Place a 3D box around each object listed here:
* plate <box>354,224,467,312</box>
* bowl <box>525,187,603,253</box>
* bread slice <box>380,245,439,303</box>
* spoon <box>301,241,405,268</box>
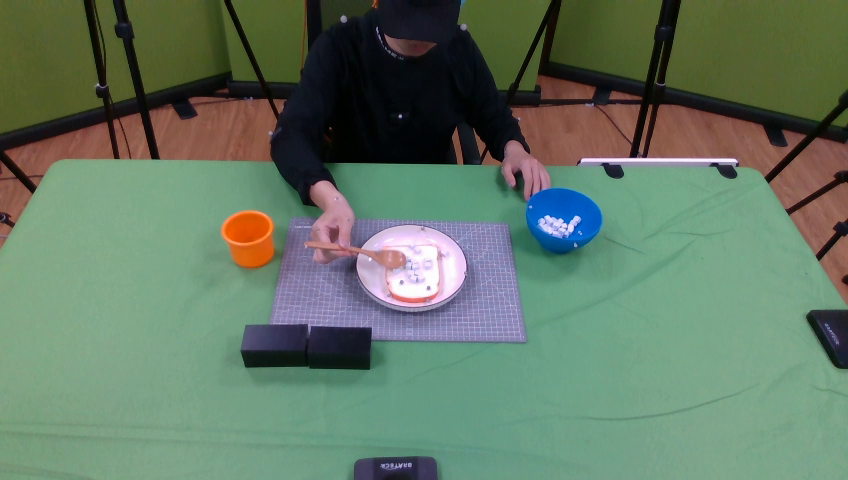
[{"bbox_3d":[-0.025,0.055,1.128,0.209,0.038,0.208,3,46,-2],"label":"plate"},{"bbox_3d":[0.271,-0.028,1.206,0.151,0.077,0.150,2,46,-2],"label":"bowl"},{"bbox_3d":[-0.022,0.061,1.126,0.107,0.018,0.133,-3,45,-8],"label":"bread slice"},{"bbox_3d":[-0.122,0.020,1.072,0.194,0.021,0.041,14,49,-29],"label":"spoon"}]
